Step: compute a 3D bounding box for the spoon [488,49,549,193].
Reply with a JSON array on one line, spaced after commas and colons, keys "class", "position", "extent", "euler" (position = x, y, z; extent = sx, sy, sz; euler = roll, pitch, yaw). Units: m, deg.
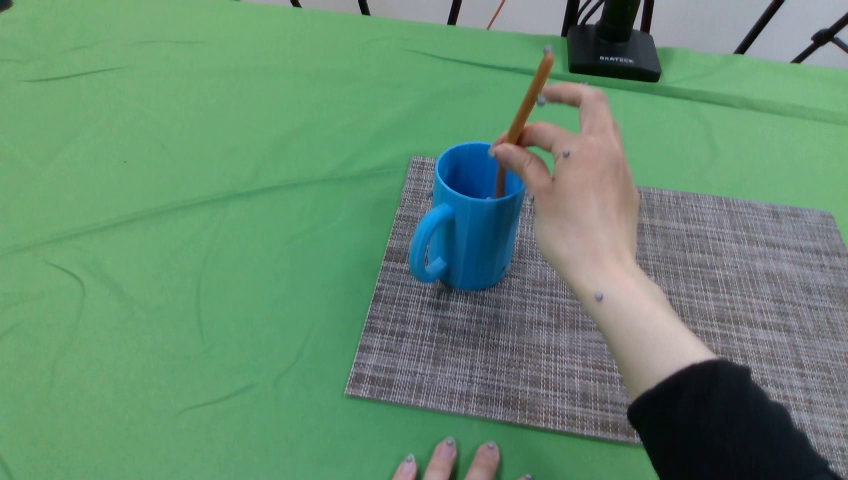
[{"class": "spoon", "position": [0.059, -0.064, 0.464], "extent": [0.021, 0.195, 0.041], "euler": [15, 53, 3]}]

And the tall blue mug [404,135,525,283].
[{"class": "tall blue mug", "position": [0.035, -0.015, 0.517], "extent": [0.077, 0.109, 0.106], "euler": [15, 48, 9]}]
